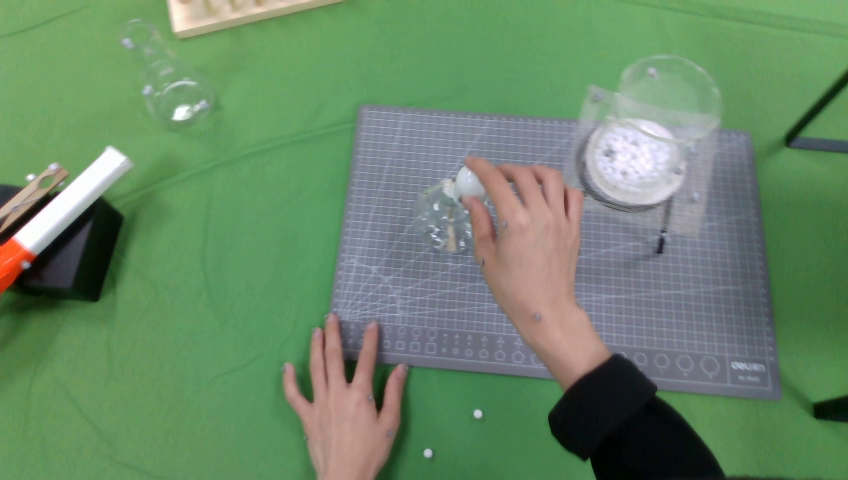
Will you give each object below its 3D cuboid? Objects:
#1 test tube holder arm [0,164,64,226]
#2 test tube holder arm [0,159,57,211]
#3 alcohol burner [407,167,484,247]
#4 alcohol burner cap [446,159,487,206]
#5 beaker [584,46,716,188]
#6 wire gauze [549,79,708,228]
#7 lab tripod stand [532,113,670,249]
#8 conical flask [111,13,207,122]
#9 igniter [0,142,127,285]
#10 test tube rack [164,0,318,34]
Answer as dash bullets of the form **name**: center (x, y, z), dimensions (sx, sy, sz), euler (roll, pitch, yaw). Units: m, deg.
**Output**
- **test tube holder arm**: center (-0.398, -0.042, 0.604), dimensions (0.010, 0.015, 0.087), euler (47, 75, -15)
- **test tube holder arm**: center (-0.431, -0.014, 0.590), dimensions (0.013, 0.015, 0.178), euler (47, 75, -15)
- **alcohol burner**: center (0.022, -0.038, 0.599), dimensions (0.078, 0.120, 0.077), euler (1, 67, -1)
- **alcohol burner cap**: center (0.036, -0.049, 0.493), dimensions (0.034, 0.048, 0.033), euler (1, 77, -2)
- **beaker**: center (0.171, -0.091, 0.485), dimensions (0.084, 0.101, 0.073), euler (-18, 71, -6)
- **wire gauze**: center (0.183, -0.078, 0.531), dimensions (0.121, 0.011, 0.124), euler (18, 69, 4)
- **lab tripod stand**: center (0.177, -0.050, 0.592), dimensions (0.148, 0.132, 0.147), euler (1, 68, -1)
- **conical flask**: center (-0.291, -0.189, 0.655), dimensions (0.075, 0.122, 0.075), euler (0, 69, 1)
- **igniter**: center (-0.400, 0.011, 0.582), dimensions (0.057, 0.025, 0.276), euler (32, 72, 21)
- **test tube rack**: center (-0.202, -0.328, 0.726), dimensions (0.242, 0.086, 0.066), euler (-16, 70, -5)
